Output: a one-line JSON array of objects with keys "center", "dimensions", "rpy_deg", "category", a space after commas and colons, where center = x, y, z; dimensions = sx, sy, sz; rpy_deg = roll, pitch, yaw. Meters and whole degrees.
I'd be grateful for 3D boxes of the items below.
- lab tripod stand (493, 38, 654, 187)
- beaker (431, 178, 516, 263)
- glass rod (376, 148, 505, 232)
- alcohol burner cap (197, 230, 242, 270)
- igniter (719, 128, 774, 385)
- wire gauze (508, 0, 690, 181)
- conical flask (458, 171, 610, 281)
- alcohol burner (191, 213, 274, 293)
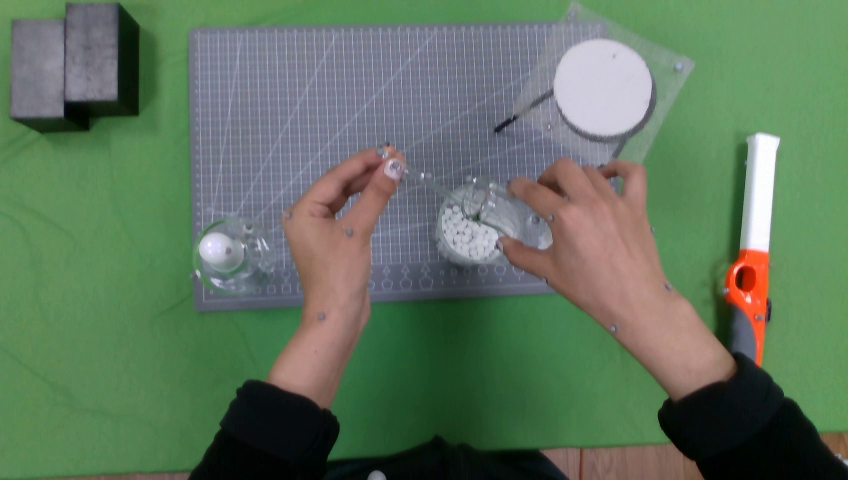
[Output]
[{"center": [0.150, -0.126, 0.591], "dimensions": [0.148, 0.131, 0.148], "rpy_deg": [0, 87, -2], "category": "lab tripod stand"}, {"center": [0.046, -0.012, 0.593], "dimensions": [0.074, 0.100, 0.084], "rpy_deg": [-39, 89, -5], "category": "beaker"}, {"center": [0.022, -0.036, 0.509], "dimensions": [0.008, 0.201, 0.008], "rpy_deg": [-11, 68, 31], "category": "glass rod"}, {"center": [-0.181, 0.007, 0.532], "dimensions": [0.034, 0.048, 0.033], "rpy_deg": [1, 79, -5], "category": "alcohol burner cap"}, {"center": [0.347, 0.017, 0.650], "dimensions": [0.057, 0.025, 0.276], "rpy_deg": [9, 85, -14], "category": "igniter"}, {"center": [0.151, -0.134, 0.525], "dimensions": [0.125, 0.011, 0.121], "rpy_deg": [30, 86, 0], "category": "wire gauze"}, {"center": [0.086, -0.017, 0.496], "dimensions": [0.123, 0.075, 0.075], "rpy_deg": [21, 83, -29], "category": "conical flask"}, {"center": [-0.184, 0.012, 0.568], "dimensions": [0.078, 0.119, 0.078], "rpy_deg": [0, 86, -2], "category": "alcohol burner"}]
